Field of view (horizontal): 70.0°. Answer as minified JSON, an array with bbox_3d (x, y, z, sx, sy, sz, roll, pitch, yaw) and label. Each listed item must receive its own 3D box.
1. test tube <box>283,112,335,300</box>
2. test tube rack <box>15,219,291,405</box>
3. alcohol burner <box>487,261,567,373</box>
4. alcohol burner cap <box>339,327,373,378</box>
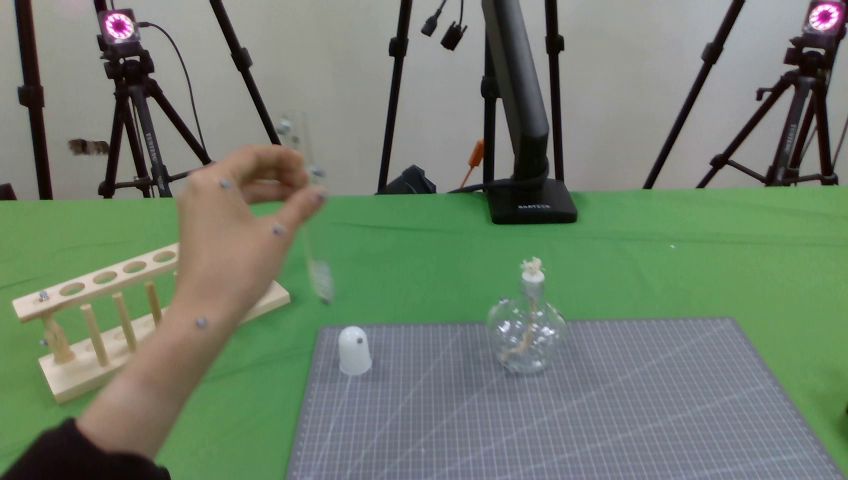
[{"bbox_3d":[-0.077,-0.016,0.416,0.017,0.151,0.017,-1,38,1],"label":"test tube"},{"bbox_3d":[-0.267,0.065,0.628,0.243,0.086,0.066,-24,38,-33],"label":"test tube rack"},{"bbox_3d":[0.100,0.069,0.580,0.078,0.120,0.077,0,33,0],"label":"alcohol burner"},{"bbox_3d":[-0.067,0.106,0.592,0.034,0.048,0.033,0,32,1],"label":"alcohol burner cap"}]
